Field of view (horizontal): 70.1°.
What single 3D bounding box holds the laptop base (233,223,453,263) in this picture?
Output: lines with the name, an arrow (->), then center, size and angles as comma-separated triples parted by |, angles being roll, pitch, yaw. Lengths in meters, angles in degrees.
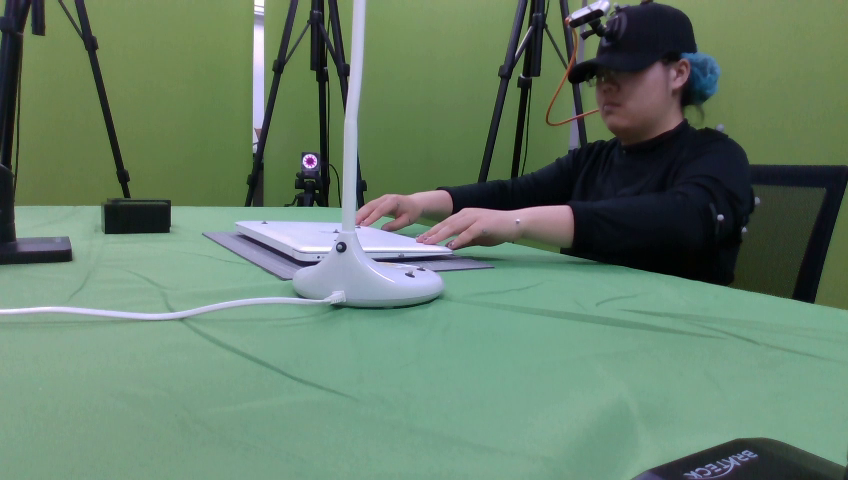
laptop base -> -0.143, 0.004, 0.957 | 0.237, 0.023, 0.352 | 2, 6, -32

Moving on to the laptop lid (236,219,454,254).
laptop lid -> -0.140, -0.008, 0.957 | 0.243, 0.013, 0.355 | 1, 7, -30

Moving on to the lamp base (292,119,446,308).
lamp base -> -0.056, -0.030, 0.616 | 0.160, 0.180, 0.179 | 3, 10, 8
